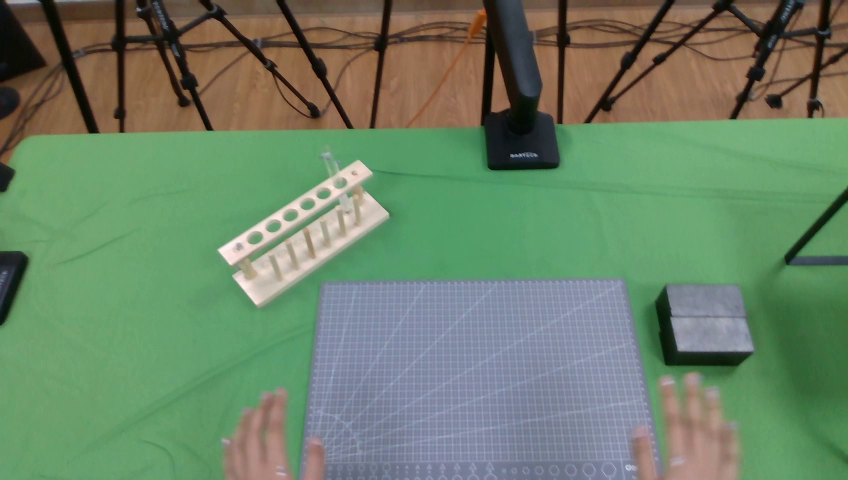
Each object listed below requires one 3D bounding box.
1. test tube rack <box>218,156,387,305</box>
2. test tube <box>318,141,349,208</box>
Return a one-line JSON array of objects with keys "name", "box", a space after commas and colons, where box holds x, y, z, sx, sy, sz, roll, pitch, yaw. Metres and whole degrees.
[{"name": "test tube rack", "box": [-0.170, -0.016, 0.892, 0.242, 0.086, 0.066, -37, 64, -20]}, {"name": "test tube", "box": [-0.129, -0.091, 0.881, 0.017, 0.151, 0.017, -2, 60, 4]}]
